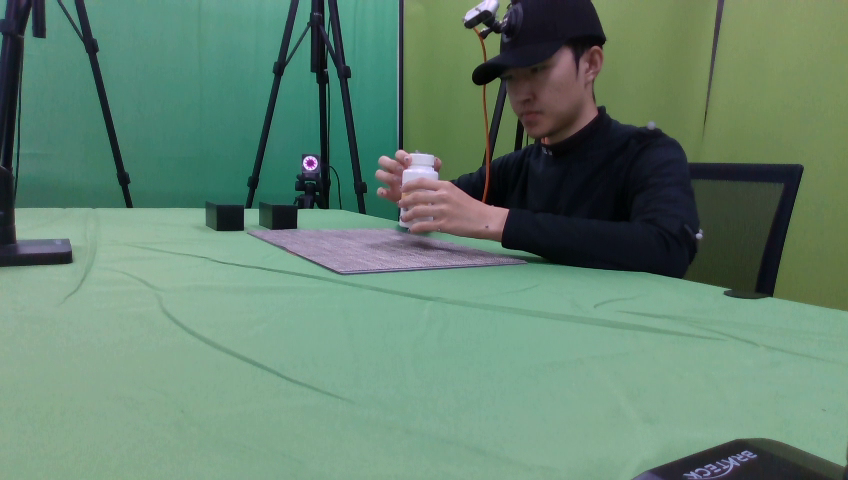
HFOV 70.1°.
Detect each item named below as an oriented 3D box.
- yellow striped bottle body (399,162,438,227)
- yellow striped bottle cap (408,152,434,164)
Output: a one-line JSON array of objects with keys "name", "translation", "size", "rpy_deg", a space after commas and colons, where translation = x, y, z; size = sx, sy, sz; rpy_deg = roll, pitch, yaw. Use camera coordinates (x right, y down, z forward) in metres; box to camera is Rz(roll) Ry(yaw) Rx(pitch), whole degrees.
[{"name": "yellow striped bottle body", "translation": [-0.008, -0.084, 1.032], "size": [0.063, 0.120, 0.063], "rpy_deg": [3, 3, 0]}, {"name": "yellow striped bottle cap", "translation": [-0.005, -0.139, 1.027], "size": [0.044, 0.018, 0.044], "rpy_deg": [4, 5, 0]}]
